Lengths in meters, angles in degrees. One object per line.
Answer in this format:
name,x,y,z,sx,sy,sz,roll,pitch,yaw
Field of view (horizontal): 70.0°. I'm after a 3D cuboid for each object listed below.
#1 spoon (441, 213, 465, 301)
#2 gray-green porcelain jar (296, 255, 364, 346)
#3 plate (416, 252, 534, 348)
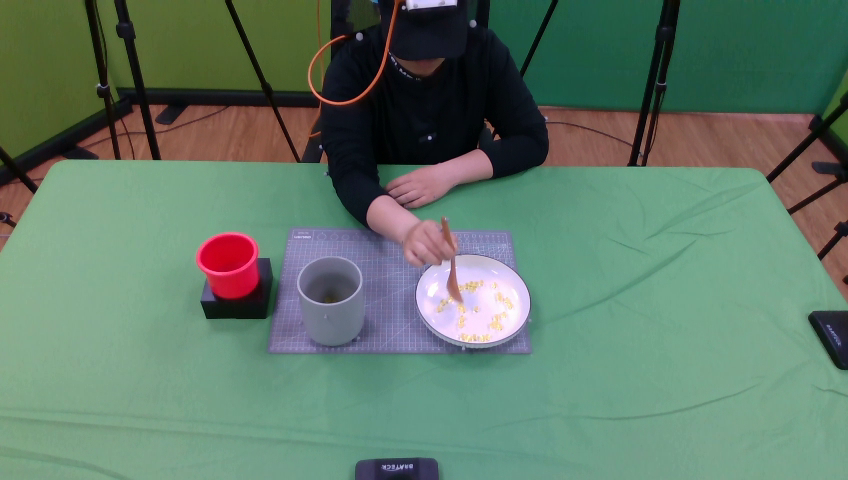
spoon,0.047,0.031,1.013,0.021,0.195,0.041,-28,41,-25
gray-green porcelain jar,-0.153,0.106,1.008,0.106,0.127,0.105,2,46,-2
plate,0.090,0.109,1.084,0.208,0.039,0.206,2,46,-2
